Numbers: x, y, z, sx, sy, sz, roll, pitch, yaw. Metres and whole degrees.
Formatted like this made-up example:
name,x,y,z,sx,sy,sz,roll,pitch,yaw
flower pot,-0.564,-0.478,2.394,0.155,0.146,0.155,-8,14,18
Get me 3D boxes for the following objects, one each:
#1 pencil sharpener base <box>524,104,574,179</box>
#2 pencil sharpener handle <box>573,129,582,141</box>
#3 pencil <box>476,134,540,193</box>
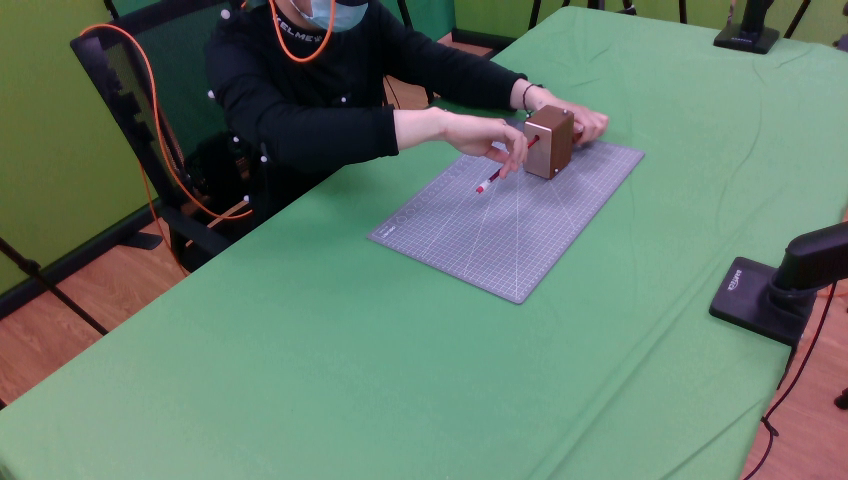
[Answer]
name,x,y,z,sx,sy,sz,roll,pitch,yaw
pencil sharpener base,0.222,-0.176,1.071,0.061,0.107,0.077,26,51,33
pencil sharpener handle,0.260,-0.211,1.085,0.031,0.068,0.035,-40,19,-32
pencil,0.147,-0.133,0.997,0.012,0.012,0.194,26,54,33
